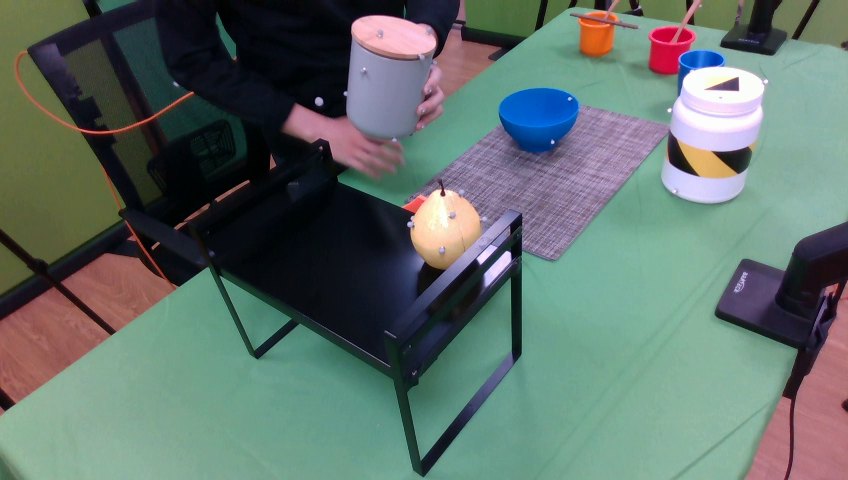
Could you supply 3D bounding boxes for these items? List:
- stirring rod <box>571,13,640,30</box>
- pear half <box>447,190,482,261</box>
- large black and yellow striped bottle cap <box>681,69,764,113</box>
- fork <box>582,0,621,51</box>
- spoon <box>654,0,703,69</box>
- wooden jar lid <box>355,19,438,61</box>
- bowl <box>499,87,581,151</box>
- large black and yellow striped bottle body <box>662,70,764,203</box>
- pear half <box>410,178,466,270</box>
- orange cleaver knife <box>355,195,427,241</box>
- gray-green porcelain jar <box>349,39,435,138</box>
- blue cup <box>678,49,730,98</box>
[{"bbox_3d":[0.419,-0.508,1.404,0.174,0.006,0.014,28,55,35],"label":"stirring rod"},{"bbox_3d":[0.046,-0.020,0.664,0.031,0.088,0.070,-17,38,-9],"label":"pear half"},{"bbox_3d":[0.453,-0.229,0.921,0.115,0.019,0.114,-4,39,4],"label":"large black and yellow striped bottle cap"},{"bbox_3d":[0.446,-0.539,1.438,0.207,0.019,0.028,-57,35,12],"label":"fork"},{"bbox_3d":[0.569,-0.462,1.335,0.041,0.022,0.193,34,99,37],"label":"spoon"},{"bbox_3d":[-0.037,-0.257,0.786,0.109,0.021,0.108,9,41,-8],"label":"wooden jar lid"},{"bbox_3d":[0.220,-0.223,1.156,0.151,0.077,0.150,-4,40,4],"label":"bowl"},{"bbox_3d":[0.464,-0.166,0.976,0.131,0.185,0.130,-5,41,5],"label":"large black and yellow striped bottle body"},{"bbox_3d":[0.011,-0.019,0.654,0.056,0.110,0.076,-16,37,-9],"label":"pear half"},{"bbox_3d":[-0.037,-0.029,0.973,0.210,0.077,0.012,-8,33,50],"label":"orange cleaver knife"},{"bbox_3d":[-0.047,-0.212,0.828,0.106,0.126,0.105,8,42,-7],"label":"gray-green porcelain jar"},{"bbox_3d":[0.542,-0.310,1.194,0.092,0.101,0.092,-6,41,6],"label":"blue cup"}]
